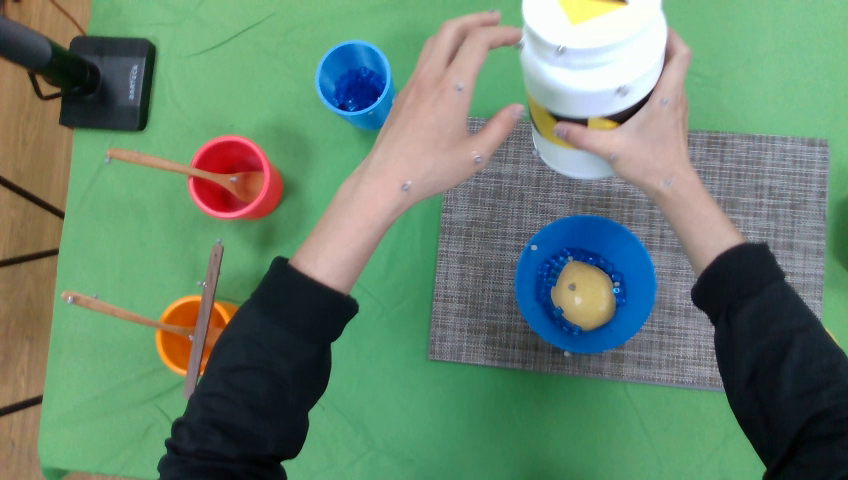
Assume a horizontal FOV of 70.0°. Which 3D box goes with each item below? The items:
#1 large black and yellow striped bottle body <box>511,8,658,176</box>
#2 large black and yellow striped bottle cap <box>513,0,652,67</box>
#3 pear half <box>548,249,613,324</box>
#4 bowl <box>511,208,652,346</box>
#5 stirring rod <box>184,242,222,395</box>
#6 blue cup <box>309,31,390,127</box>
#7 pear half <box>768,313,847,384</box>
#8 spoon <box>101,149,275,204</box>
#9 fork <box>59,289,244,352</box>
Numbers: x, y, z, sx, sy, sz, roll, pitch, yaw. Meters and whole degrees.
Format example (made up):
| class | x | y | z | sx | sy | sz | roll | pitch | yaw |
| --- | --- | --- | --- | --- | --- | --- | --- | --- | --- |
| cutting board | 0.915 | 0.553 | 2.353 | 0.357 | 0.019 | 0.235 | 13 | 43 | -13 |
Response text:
| class | x | y | z | sx | sy | sz | roll | pitch | yaw |
| --- | --- | --- | --- | --- | --- | --- | --- | --- | --- |
| large black and yellow striped bottle body | 0.157 | -0.162 | 0.587 | 0.130 | 0.186 | 0.129 | -8 | 62 | 15 |
| large black and yellow striped bottle cap | 0.133 | -0.198 | 0.515 | 0.115 | 0.019 | 0.114 | -8 | 63 | 16 |
| pear half | 0.176 | 0.050 | 0.682 | 0.070 | 0.031 | 0.087 | -22 | 80 | 1 |
| bowl | 0.172 | 0.043 | 0.689 | 0.151 | 0.077 | 0.151 | 0 | 85 | 5 |
| stirring rod | -0.251 | 0.088 | 0.688 | 0.014 | 0.006 | 0.176 | 9 | 87 | 3 |
| blue cup | -0.080 | -0.178 | 0.718 | 0.092 | 0.100 | 0.092 | -1 | 84 | 7 |
| pear half | 0.409 | 0.118 | 0.647 | 0.056 | 0.110 | 0.076 | -15 | 80 | 4 |
| spoon | -0.268 | -0.079 | 0.707 | 0.195 | 0.021 | 0.041 | 13 | 88 | -38 |
| fork | -0.304 | 0.093 | 0.693 | 0.209 | 0.018 | 0.028 | 26 | 98 | -37 |
